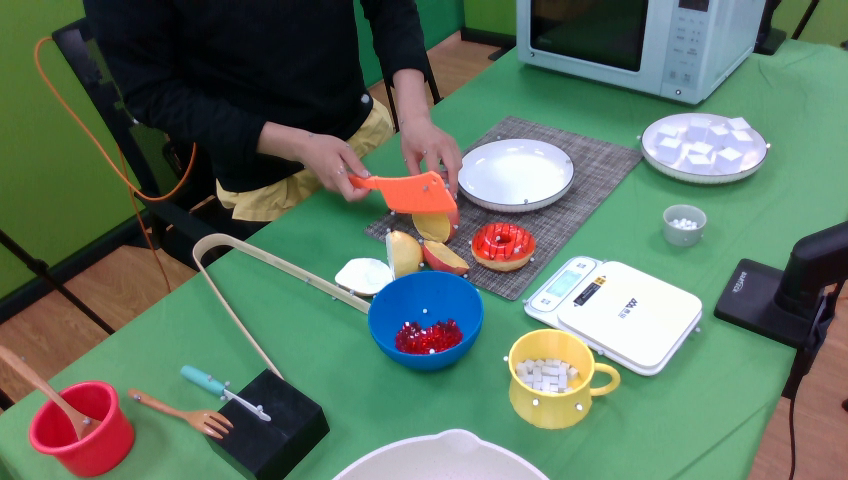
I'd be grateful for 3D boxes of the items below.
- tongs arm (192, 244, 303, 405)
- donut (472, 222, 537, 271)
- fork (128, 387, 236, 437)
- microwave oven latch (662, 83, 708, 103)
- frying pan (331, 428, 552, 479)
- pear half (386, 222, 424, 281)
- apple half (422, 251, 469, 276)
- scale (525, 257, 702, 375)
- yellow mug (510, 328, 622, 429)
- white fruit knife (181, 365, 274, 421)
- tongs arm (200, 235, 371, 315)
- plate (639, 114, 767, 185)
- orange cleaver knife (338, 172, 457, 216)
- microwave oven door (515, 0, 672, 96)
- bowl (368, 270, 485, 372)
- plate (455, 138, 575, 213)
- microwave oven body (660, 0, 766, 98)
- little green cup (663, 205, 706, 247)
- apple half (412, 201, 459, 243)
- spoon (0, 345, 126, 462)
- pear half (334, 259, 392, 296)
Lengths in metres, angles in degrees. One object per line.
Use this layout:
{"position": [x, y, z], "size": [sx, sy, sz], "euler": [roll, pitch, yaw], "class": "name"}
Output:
{"position": [-0.268, 0.110, 0.884], "size": [0.028, 0.028, 0.384], "euler": [-36, 47, -18], "class": "tongs arm"}
{"position": [0.123, 0.009, 0.923], "size": [0.099, 0.048, 0.098], "euler": [-4, 37, 3], "class": "donut"}
{"position": [-0.305, 0.207, 0.744], "size": [0.206, 0.019, 0.028], "euler": [3, 40, 36], "class": "fork"}
{"position": [0.517, -0.296, 1.204], "size": [0.078, 0.029, 0.030], "euler": [27, 52, 35], "class": "microwave oven latch"}
{"position": [-0.089, 0.306, 0.564], "size": [0.487, 0.103, 0.306], "euler": [10, 41, 7], "class": "frying pan"}
{"position": [-0.029, 0.013, 0.897], "size": [0.056, 0.110, 0.076], "euler": [-16, 46, -11], "class": "pear half"}
{"position": [0.024, 0.040, 0.911], "size": [0.080, 0.082, 0.033], "euler": [20, 91, 29], "class": "apple half"}
{"position": [0.254, 0.091, 0.821], "size": [0.199, 0.032, 0.149], "euler": [28, 51, 35], "class": "scale"}
{"position": [0.169, 0.164, 0.721], "size": [0.130, 0.064, 0.099], "euler": [0, 40, 8], "class": "yellow mug"}
{"position": [-0.245, 0.187, 0.747], "size": [0.205, 0.027, 0.016], "euler": [9, 41, 41], "class": "white fruit knife"}
{"position": [-0.209, 0.062, 0.924], "size": [0.381, 0.027, 0.051], "euler": [23, 54, 32], "class": "tongs arm"}
{"position": [0.489, -0.157, 1.074], "size": [0.207, 0.039, 0.206], "euler": [-4, 40, 4], "class": "plate"}
{"position": [-0.044, -0.071, 0.925], "size": [0.210, 0.077, 0.012], "euler": [6, 38, 34], "class": "orange cleaver knife"}
{"position": [0.343, -0.454, 1.259], "size": [0.353, 0.245, 0.039], "euler": [26, 51, 33], "class": "microwave oven door"}
{"position": [0.007, 0.118, 0.791], "size": [0.151, 0.077, 0.150], "euler": [-5, 40, 4], "class": "bowl"}
{"position": [0.159, -0.111, 1.063], "size": [0.209, 0.038, 0.208], "euler": [-4, 40, 4], "class": "plate"}
{"position": [0.472, -0.513, 1.317], "size": [0.438, 0.261, 0.327], "euler": [26, 51, 34], "class": "microwave oven body"}
{"position": [0.396, -0.020, 0.926], "size": [0.061, 0.039, 0.061], "euler": [-4, 40, 4], "class": "little green cup"}
{"position": [0.026, -0.040, 0.972], "size": [0.080, 0.075, 0.053], "euler": [18, 37, 34], "class": "apple half"}
{"position": [-0.434, 0.192, 0.720], "size": [0.194, 0.021, 0.042], "euler": [47, 53, -7], "class": "spoon"}
{"position": [-0.092, 0.062, 0.906], "size": [0.088, 0.031, 0.070], "euler": [-9, 42, -23], "class": "pear half"}
